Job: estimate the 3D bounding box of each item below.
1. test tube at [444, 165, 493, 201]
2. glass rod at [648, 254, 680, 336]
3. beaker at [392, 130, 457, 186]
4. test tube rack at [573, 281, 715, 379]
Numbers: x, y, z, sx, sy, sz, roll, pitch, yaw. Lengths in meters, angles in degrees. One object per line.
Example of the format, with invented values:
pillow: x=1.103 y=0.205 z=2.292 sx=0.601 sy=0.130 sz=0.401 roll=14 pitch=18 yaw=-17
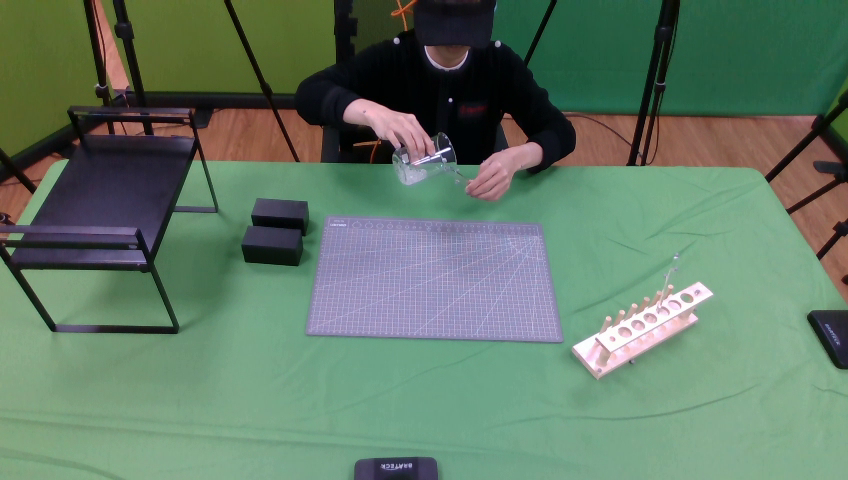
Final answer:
test tube: x=0.091 y=-0.110 z=1.191 sx=0.017 sy=0.151 sz=0.017 roll=-19 pitch=59 yaw=35
glass rod: x=0.390 y=0.094 z=0.991 sx=0.008 sy=0.201 sz=0.008 roll=-1 pitch=44 yaw=2
beaker: x=-0.001 y=-0.144 z=1.101 sx=0.100 sy=0.084 sz=0.073 roll=-23 pitch=47 yaw=-15
test tube rack: x=0.378 y=0.140 z=1.038 sx=0.242 sy=0.085 sz=0.066 roll=-22 pitch=51 yaw=-22
